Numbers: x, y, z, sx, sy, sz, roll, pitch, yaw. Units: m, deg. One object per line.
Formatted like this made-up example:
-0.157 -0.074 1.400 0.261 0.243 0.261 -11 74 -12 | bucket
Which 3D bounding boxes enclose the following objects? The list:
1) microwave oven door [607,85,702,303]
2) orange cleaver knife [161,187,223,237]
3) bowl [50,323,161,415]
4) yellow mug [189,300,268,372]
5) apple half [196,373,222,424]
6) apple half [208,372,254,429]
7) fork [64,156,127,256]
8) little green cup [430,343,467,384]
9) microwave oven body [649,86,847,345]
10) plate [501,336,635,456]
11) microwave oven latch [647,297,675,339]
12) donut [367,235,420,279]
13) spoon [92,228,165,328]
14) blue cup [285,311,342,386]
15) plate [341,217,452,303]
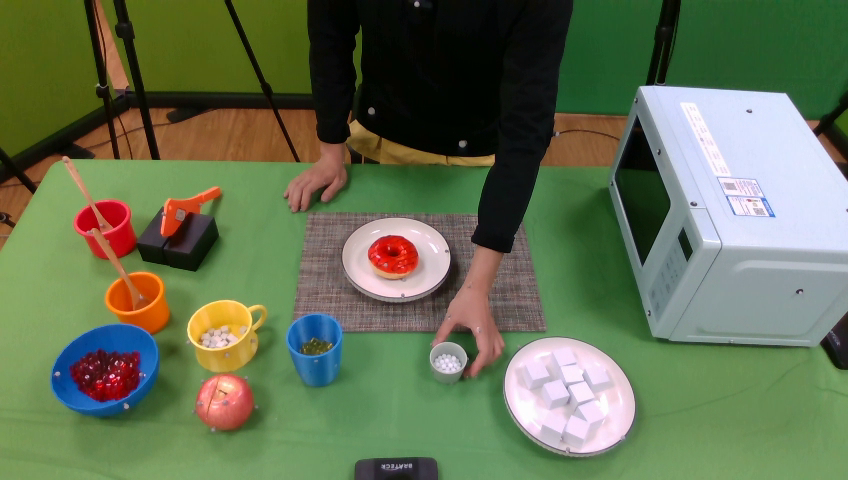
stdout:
0.424 -0.094 1.140 0.039 0.245 0.353 2 46 -1 | microwave oven door
-0.448 -0.058 1.180 0.012 0.077 0.211 13 17 6 | orange cleaver knife
-0.472 0.209 0.924 0.151 0.077 0.150 3 45 -2 | bowl
-0.315 0.149 1.001 0.131 0.064 0.099 -33 55 -31 | yellow mug
-0.322 0.240 0.906 0.033 0.081 0.081 7 46 0 | apple half
-0.282 0.244 0.908 0.053 0.075 0.080 7 43 -1 | apple half
-0.614 -0.064 1.130 0.028 0.018 0.207 -30 97 -18 | fork
0.038 0.204 0.993 0.061 0.039 0.061 2 48 -2 | little green cup
0.568 -0.053 1.118 0.326 0.261 0.439 2 45 -1 | microwave oven body
0.225 0.249 0.963 0.208 0.039 0.206 2 46 -2 | plate
0.413 0.134 1.061 0.030 0.029 0.078 5 45 2 | microwave oven latch
-0.057 0.032 1.132 0.099 0.048 0.098 3 46 -3 | donut
-0.496 0.063 1.014 0.041 0.194 0.021 -33 12 -30 | spoon
-0.170 0.180 0.958 0.093 0.101 0.092 2 44 -1 | blue cup
-0.052 0.040 1.140 0.209 0.038 0.208 2 46 -2 | plate
